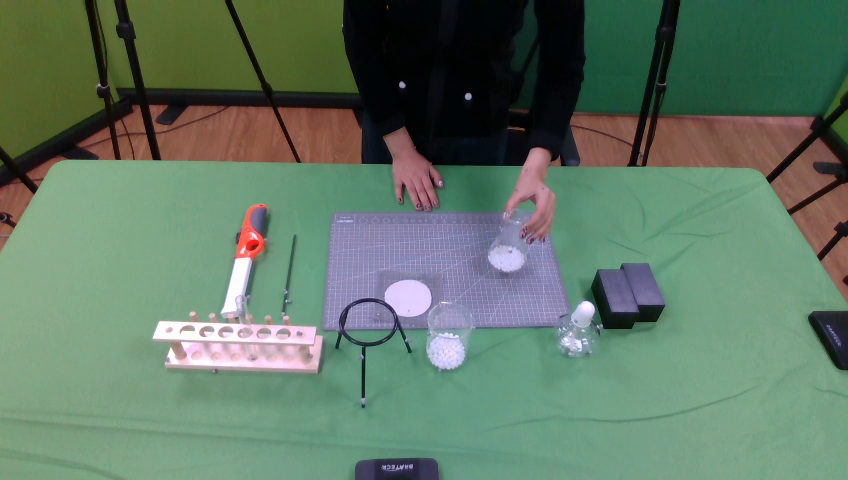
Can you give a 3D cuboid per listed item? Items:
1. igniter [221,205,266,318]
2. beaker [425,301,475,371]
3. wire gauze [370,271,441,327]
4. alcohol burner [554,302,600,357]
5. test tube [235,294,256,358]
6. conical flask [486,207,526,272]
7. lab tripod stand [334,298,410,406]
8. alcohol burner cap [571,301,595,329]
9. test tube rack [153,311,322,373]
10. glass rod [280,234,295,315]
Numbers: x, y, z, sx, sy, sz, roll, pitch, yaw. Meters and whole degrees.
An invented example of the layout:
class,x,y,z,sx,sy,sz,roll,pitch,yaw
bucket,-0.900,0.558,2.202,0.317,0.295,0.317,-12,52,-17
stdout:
class,x,y,z,sx,sy,sz,roll,pitch,yaw
igniter,-0.338,0.030,1.140,0.057,0.025,0.274,-5,46,3
beaker,0.038,0.159,0.996,0.074,0.101,0.083,-13,48,-17
wire gauze,-0.032,0.103,1.104,0.125,0.011,0.121,4,46,3
alcohol burner,0.260,0.143,1.018,0.078,0.119,0.077,3,45,-3
test tube,-0.274,0.136,0.933,0.017,0.151,0.017,4,46,-4
conical flask,0.156,-0.004,1.103,0.075,0.122,0.075,2,47,-2
lab tripod stand,-0.086,0.164,0.958,0.148,0.132,0.147,3,44,-2
alcohol burner cap,0.262,0.120,0.991,0.034,0.048,0.033,1,52,-2
test tube rack,-0.293,0.160,0.978,0.242,0.085,0.066,3,46,-2
glass rod,-0.253,0.060,1.132,0.008,0.008,0.198,0,46,-3
